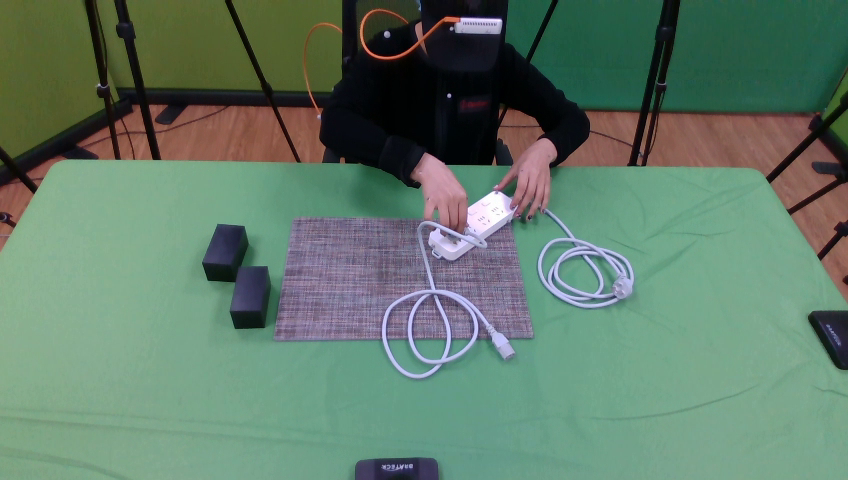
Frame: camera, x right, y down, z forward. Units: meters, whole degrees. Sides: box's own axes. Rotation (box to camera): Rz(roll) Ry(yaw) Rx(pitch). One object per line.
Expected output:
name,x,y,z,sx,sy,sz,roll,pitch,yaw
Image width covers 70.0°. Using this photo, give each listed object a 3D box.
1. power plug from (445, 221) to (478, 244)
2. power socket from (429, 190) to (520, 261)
power plug,0.068,-0.005,1.146,0.035,0.053,0.072,-26,48,-18
power socket,0.104,-0.032,1.222,0.226,0.033,0.072,-33,57,-30
